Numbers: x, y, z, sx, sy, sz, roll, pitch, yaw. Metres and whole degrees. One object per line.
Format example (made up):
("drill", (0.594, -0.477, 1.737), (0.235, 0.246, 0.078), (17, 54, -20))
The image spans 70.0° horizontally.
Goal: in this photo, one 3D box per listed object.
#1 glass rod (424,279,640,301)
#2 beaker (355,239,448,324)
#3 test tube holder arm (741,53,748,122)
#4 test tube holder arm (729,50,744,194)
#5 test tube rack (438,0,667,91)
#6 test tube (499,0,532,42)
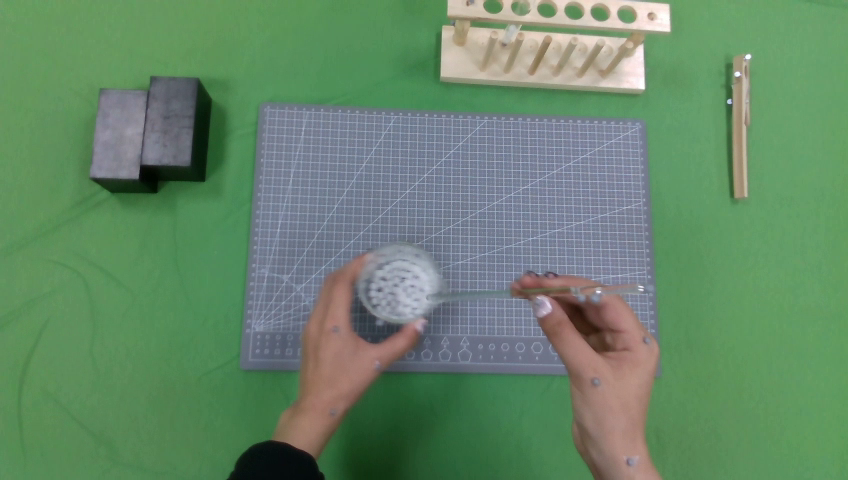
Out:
("glass rod", (0.065, 0.038, 0.438), (0.008, 0.199, 0.008), (7, 79, -40))
("beaker", (-0.022, 0.044, 0.585), (0.084, 0.100, 0.073), (10, 80, -1))
("test tube holder arm", (0.381, -0.183, 0.731), (0.010, 0.015, 0.087), (15, 76, -31))
("test tube holder arm", (0.371, -0.141, 0.719), (0.013, 0.015, 0.177), (14, 77, -31))
("test tube rack", (0.141, -0.226, 0.689), (0.242, 0.085, 0.066), (3, 78, -3))
("test tube", (0.107, -0.255, 0.642), (0.017, 0.150, 0.017), (2, 76, -10))
